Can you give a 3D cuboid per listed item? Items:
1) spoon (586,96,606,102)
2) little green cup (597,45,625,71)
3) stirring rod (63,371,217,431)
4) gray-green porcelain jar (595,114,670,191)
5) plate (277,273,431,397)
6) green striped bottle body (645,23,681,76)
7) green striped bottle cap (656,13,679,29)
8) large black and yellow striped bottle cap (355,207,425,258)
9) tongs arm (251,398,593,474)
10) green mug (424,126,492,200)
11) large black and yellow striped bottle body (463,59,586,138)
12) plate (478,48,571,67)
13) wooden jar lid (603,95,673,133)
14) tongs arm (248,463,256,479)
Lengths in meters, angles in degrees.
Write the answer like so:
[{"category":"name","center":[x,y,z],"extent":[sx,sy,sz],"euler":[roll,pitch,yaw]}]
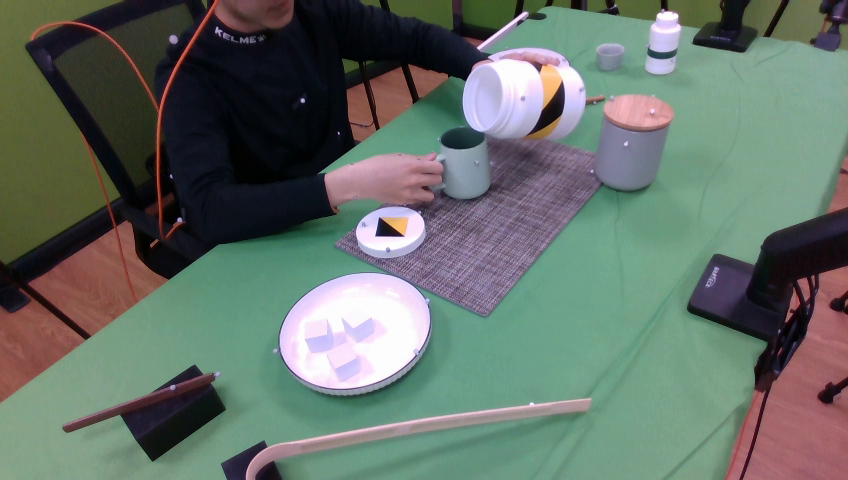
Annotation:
[{"category":"spoon","center":[0.292,-0.278,1.249],"extent":[0.194,0.022,0.041],"euler":[-17,25,-11]},{"category":"little green cup","center":[0.423,-0.413,1.375],"extent":[0.061,0.039,0.061],"euler":[-3,41,3]},{"category":"stirring rod","center":[-0.337,0.192,0.723],"extent":[0.177,0.014,0.005],"euler":[-18,43,-12]},{"category":"gray-green porcelain jar","center":[0.346,-0.155,1.017],"extent":[0.106,0.127,0.105],"euler":[-2,44,2]},{"category":"plate","center":[-0.091,0.129,0.821],"extent":[0.207,0.039,0.206],"euler":[-4,40,4]},{"category":"green striped bottle body","center":[0.520,-0.424,1.312],"extent":[0.063,0.120,0.063],"euler":[-4,41,4]},{"category":"green striped bottle cap","center":[0.515,-0.463,1.278],"extent":[0.044,0.020,0.044],"euler":[-6,42,6]},{"category":"large black and yellow striped bottle cap","center":[-0.056,-0.014,0.993],"extent":[0.115,0.019,0.114],"euler":[-3,40,3]},{"category":"tongs arm","center":[0.008,0.212,0.675],"extent":[0.389,0.028,0.028],"euler":[-5,46,-11]},{"category":"green mug","center":[0.056,-0.125,1.038],"extent":[0.126,0.105,0.091],"euler":[-26,44,-21]},{"category":"large black and yellow striped bottle body","center":[0.172,-0.241,1.043],"extent":[0.185,0.131,0.129],"euler":[-7,35,-33]},{"category":"plate","center":[0.223,-0.371,1.357],"extent":[0.209,0.038,0.208],"euler":[-4,41,4]},{"category":"wooden jar lid","center":[0.343,-0.200,0.974],"extent":[0.108,0.021,0.108],"euler":[-2,39,2]},{"category":"tongs arm","center":[0.012,0.262,0.615],"extent":[0.385,0.026,0.050],"euler":[2,42,-2]}]
